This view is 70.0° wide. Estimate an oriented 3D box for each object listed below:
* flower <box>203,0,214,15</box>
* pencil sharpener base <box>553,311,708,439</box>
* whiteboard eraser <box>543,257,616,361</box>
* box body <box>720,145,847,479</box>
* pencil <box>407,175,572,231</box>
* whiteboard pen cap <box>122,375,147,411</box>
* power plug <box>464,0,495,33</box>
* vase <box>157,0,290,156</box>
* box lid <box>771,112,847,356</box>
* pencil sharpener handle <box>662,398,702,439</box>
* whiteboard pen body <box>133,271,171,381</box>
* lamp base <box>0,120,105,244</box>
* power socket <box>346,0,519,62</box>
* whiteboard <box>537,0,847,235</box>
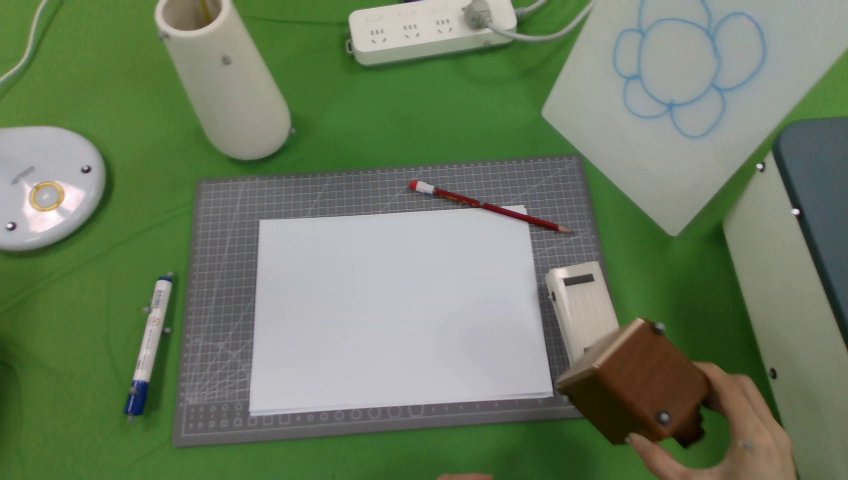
[{"bbox_3d":[-0.205,-0.227,0.576,0.038,0.365,0.043,-16,48,-14],"label":"flower"},{"bbox_3d":[0.159,0.112,0.478,0.061,0.107,0.076,-41,78,-16],"label":"pencil sharpener base"},{"bbox_3d":[0.160,0.075,0.609,0.055,0.042,0.111,-9,66,-5],"label":"whiteboard eraser"},{"bbox_3d":[0.450,0.079,0.541,0.254,0.161,0.361,-5,66,-1],"label":"box body"},{"bbox_3d":[0.073,-0.041,0.681,0.194,0.012,0.012,18,67,7],"label":"pencil"},{"bbox_3d":[-0.282,0.148,0.590,0.018,0.018,0.033,0,60,1],"label":"whiteboard pen cap"},{"bbox_3d":[0.067,-0.269,0.747,0.035,0.053,0.072,0,67,1],"label":"power plug"},{"bbox_3d":[-0.209,-0.175,0.643,0.098,0.201,0.097,-1,65,2],"label":"vase"},{"bbox_3d":[0.449,0.045,0.474,0.263,0.015,0.368,-4,65,-2],"label":"box lid"},{"bbox_3d":[0.198,0.140,0.458,0.036,0.068,0.030,-44,79,-1],"label":"pencil sharpener handle"},{"bbox_3d":[-0.279,0.096,0.618,0.017,0.017,0.139,0,62,1],"label":"whiteboard pen body"},{"bbox_3d":[-0.460,-0.106,0.625,0.178,0.181,0.160,27,68,15],"label":"lamp base"},{"bbox_3d":[0.012,-0.277,0.777,0.227,0.033,0.071,-9,67,-4],"label":"power socket"},{"bbox_3d":[0.292,-0.195,0.621,0.144,0.307,0.215,-27,66,-31],"label":"whiteboard"}]
